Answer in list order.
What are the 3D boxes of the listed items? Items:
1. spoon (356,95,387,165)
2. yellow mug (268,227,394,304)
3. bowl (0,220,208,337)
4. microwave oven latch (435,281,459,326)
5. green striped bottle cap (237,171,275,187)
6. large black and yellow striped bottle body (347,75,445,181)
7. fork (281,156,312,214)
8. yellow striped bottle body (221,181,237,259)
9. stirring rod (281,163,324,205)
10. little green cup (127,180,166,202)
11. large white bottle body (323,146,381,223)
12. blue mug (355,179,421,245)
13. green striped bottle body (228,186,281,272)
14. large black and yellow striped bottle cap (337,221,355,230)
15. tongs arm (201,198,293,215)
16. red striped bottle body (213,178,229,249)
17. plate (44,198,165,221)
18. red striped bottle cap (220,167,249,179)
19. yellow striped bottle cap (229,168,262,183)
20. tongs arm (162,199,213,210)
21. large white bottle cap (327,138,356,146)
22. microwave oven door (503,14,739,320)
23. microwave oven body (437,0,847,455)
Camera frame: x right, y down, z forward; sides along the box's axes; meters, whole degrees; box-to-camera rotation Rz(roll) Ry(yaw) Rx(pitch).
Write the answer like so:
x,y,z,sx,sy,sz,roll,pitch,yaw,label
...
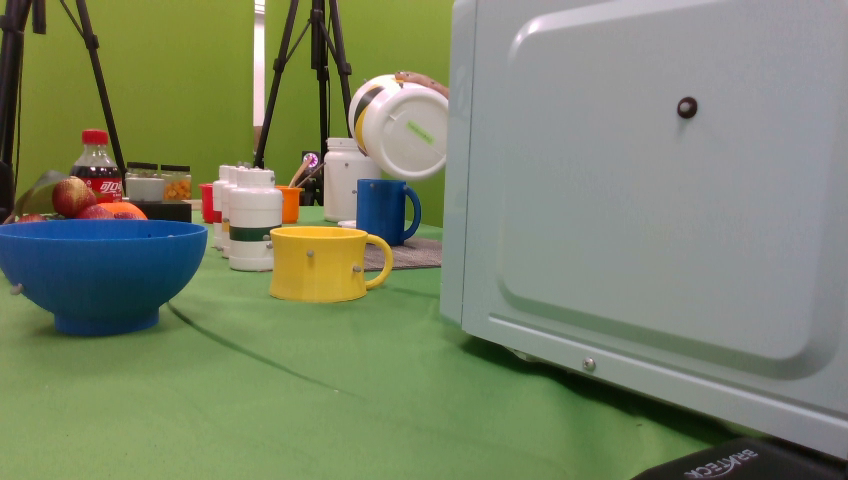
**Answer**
x,y,z,sx,sy,sz,roll,pitch,yaw,label
-0.086,-0.181,0.965,0.021,0.042,0.193,-22,45,5,spoon
-0.094,0.023,0.629,0.131,0.064,0.099,0,7,-22,yellow mug
-0.251,0.029,0.479,0.151,0.077,0.151,2,7,0,bowl
0.044,0.046,0.470,0.079,0.029,0.030,-3,8,-40,microwave oven latch
-0.206,-0.074,0.738,0.044,0.020,0.044,1,9,0,green striped bottle cap
-0.040,-0.172,0.897,0.131,0.130,0.183,0,21,-21,large black and yellow striped bottle body
-0.289,-0.116,1.320,0.028,0.019,0.207,1,49,25,fork
-0.244,-0.035,0.823,0.063,0.120,0.063,2,8,0,yellow striped bottle body
-0.278,-0.105,1.293,0.176,0.006,0.014,-47,25,-18,stirring rod
-0.486,-0.086,1.062,0.061,0.038,0.061,0,7,0,little green cup
-0.163,-0.134,1.369,0.131,0.184,0.130,2,8,0,large white bottle body
-0.058,-0.047,1.005,0.116,0.106,0.082,5,9,23,blue mug
-0.208,-0.024,0.745,0.063,0.119,0.063,2,7,0,green striped bottle body
-0.107,-0.022,1.148,0.115,0.019,0.115,1,8,0,large black and yellow striped bottle cap
-0.423,-0.084,1.472,0.050,0.026,0.386,2,6,21,tongs arm
-0.284,-0.047,0.907,0.063,0.119,0.063,2,7,0,red striped bottle body
-0.617,-0.056,1.179,0.209,0.038,0.209,3,7,0,plate
-0.281,-0.100,0.901,0.044,0.017,0.044,-1,5,0,red striped bottle cap
-0.240,-0.087,0.816,0.044,0.018,0.044,-2,5,1,yellow striped bottle cap
-0.504,-0.091,1.513,0.028,0.028,0.389,0,4,37,tongs arm
-0.160,-0.218,1.357,0.115,0.018,0.115,2,8,0,large white bottle cap
0.218,-0.065,0.600,0.358,0.243,0.039,-4,10,-41,microwave oven door
0.279,-0.040,0.464,0.444,0.260,0.324,-3,8,-41,microwave oven body
